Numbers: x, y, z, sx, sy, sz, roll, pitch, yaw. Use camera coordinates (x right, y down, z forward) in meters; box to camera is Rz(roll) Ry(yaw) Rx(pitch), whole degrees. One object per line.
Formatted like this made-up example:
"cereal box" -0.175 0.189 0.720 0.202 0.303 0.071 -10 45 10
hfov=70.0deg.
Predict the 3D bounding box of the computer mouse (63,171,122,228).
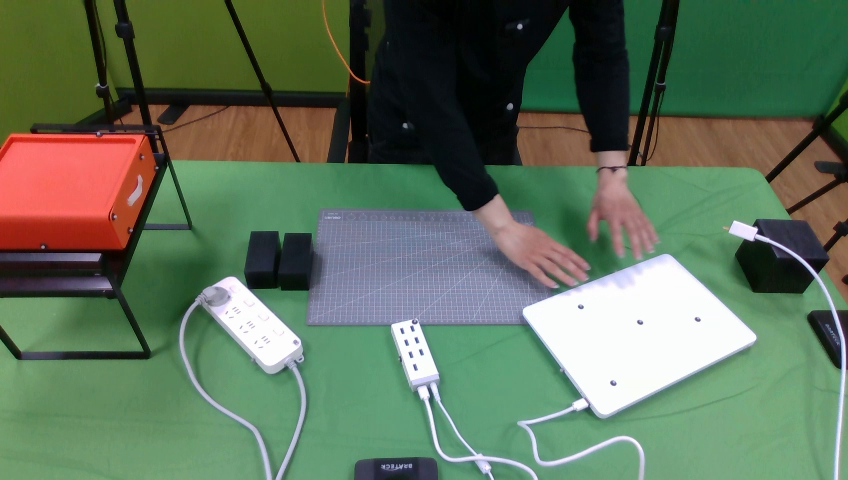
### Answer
"computer mouse" -0.522 -0.067 0.955 0.063 0.041 0.116 1 48 -9

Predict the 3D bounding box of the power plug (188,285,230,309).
"power plug" -0.370 0.103 1.039 0.072 0.053 0.035 -26 54 -23

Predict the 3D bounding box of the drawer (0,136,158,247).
"drawer" -0.549 -0.080 0.943 0.212 0.073 0.193 1 47 -4

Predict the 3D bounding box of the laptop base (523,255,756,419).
"laptop base" 0.381 0.157 1.080 0.355 0.023 0.234 -18 48 -20

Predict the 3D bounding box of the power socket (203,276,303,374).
"power socket" -0.297 0.141 1.034 0.225 0.033 0.072 37 55 27

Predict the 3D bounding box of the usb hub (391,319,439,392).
"usb hub" -0.016 0.190 1.013 0.049 0.025 0.124 -11 48 -15

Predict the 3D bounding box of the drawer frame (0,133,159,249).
"drawer frame" -0.553 -0.078 0.942 0.214 0.083 0.200 -1 47 -4

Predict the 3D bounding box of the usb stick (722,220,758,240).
"usb stick" 0.593 -0.021 1.139 0.059 0.027 0.021 22 12 29

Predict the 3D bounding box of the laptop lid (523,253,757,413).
"laptop lid" 0.380 0.147 1.073 0.357 0.013 0.240 -17 48 -19
